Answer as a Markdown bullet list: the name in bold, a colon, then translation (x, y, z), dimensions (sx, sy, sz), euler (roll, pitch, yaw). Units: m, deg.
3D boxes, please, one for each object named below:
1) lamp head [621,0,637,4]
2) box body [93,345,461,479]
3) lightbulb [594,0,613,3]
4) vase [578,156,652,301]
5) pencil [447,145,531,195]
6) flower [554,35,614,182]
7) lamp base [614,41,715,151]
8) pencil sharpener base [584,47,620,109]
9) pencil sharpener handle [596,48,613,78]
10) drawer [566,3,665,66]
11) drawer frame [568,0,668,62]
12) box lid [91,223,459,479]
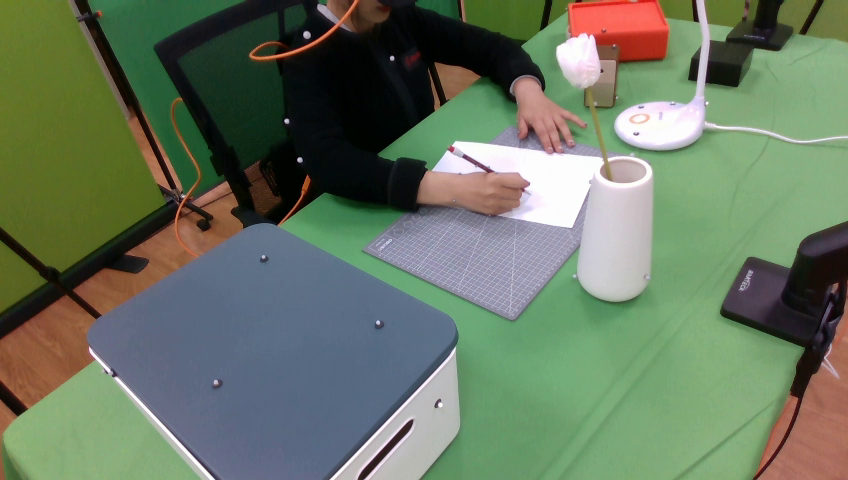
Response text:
- **lamp head**: translation (0.319, -0.453, 0.962), dimensions (0.113, 0.123, 0.112), euler (20, 33, -13)
- **box body**: translation (-0.162, 0.170, 0.708), dimensions (0.361, 0.161, 0.255), euler (25, 50, 34)
- **lightbulb**: translation (0.305, -0.437, 0.978), dimensions (0.060, 0.107, 0.059), euler (12, 43, -11)
- **vase**: translation (0.261, -0.011, 0.812), dimensions (0.098, 0.201, 0.097), euler (-4, 40, 4)
- **pencil**: translation (0.112, -0.113, 1.002), dimensions (0.012, 0.196, 0.012), euler (-32, 46, 41)
- **flower**: translation (0.237, -0.083, 0.774), dimensions (0.044, 0.363, 0.038), euler (-22, 26, 7)
- **lamp base**: translation (0.449, -0.277, 1.106), dimensions (0.179, 0.181, 0.160), euler (1, 41, 9)
- **pencil sharpener base**: translation (0.368, -0.336, 1.249), dimensions (0.061, 0.107, 0.076), euler (6, 42, 19)
- **pencil sharpener handle**: translation (0.382, -0.378, 1.276), dimensions (0.036, 0.068, 0.030), euler (4, 42, 20)
- **drawer**: translation (0.447, -0.493, 1.440), dimensions (0.211, 0.073, 0.194), euler (0, 40, 10)
- **drawer frame**: translation (0.450, -0.495, 1.441), dimensions (0.213, 0.083, 0.201), euler (-1, 40, 9)
- **box lid**: translation (-0.174, 0.103, 0.667), dimensions (0.368, 0.015, 0.264), euler (24, 48, 35)
